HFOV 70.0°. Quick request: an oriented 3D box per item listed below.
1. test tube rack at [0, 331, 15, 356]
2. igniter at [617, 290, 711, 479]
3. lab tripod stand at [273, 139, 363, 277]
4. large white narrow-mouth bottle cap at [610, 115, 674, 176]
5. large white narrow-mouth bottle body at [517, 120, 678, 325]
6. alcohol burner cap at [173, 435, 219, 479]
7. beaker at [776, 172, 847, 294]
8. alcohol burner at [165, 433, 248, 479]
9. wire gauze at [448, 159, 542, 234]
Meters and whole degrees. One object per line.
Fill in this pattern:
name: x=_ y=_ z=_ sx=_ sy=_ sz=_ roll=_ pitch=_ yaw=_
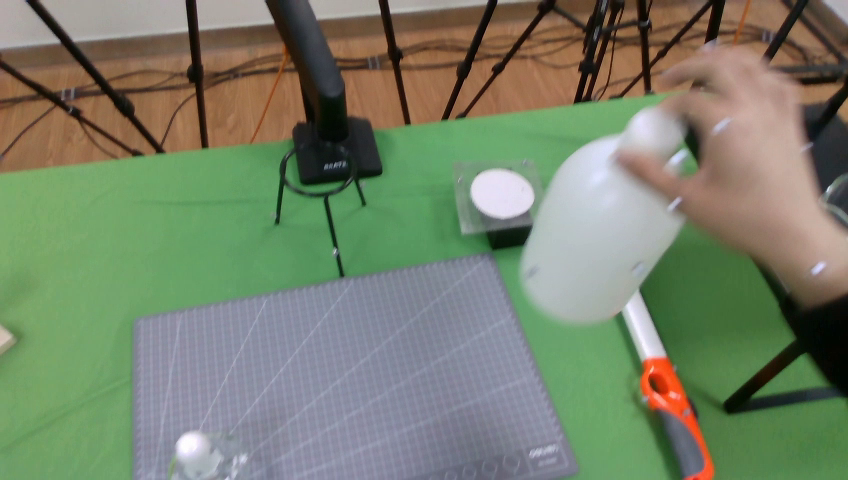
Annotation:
test tube rack: x=-0.566 y=0.157 z=0.614 sx=0.066 sy=0.086 sz=0.241 roll=31 pitch=58 yaw=18
igniter: x=0.267 y=0.151 z=0.708 sx=0.057 sy=0.025 sz=0.273 roll=1 pitch=53 yaw=-16
lab tripod stand: x=-0.128 y=-0.046 z=0.762 sx=0.148 sy=0.132 sz=0.147 roll=3 pitch=54 yaw=-4
large white narrow-mouth bottle cap: x=0.145 y=-0.064 z=0.406 sx=0.038 sy=0.024 sz=0.037 roll=2 pitch=56 yaw=-3
large white narrow-mouth bottle body: x=0.139 y=-0.016 z=0.477 sx=0.102 sy=0.196 sz=0.101 roll=2 pitch=56 yaw=-3
alcohol burner cap: x=-0.207 y=0.194 z=0.544 sx=0.034 sy=0.048 sz=0.033 roll=0 pitch=49 yaw=1
beaker: x=0.381 y=-0.003 z=0.560 sx=0.084 sy=0.101 sz=0.073 roll=8 pitch=53 yaw=3
alcohol burner: x=-0.209 y=0.215 z=0.573 sx=0.078 sy=0.120 sz=0.077 roll=3 pitch=52 yaw=-3
wire gauze: x=0.098 y=-0.063 z=0.805 sx=0.121 sy=0.011 sz=0.124 roll=-4 pitch=54 yaw=-6
